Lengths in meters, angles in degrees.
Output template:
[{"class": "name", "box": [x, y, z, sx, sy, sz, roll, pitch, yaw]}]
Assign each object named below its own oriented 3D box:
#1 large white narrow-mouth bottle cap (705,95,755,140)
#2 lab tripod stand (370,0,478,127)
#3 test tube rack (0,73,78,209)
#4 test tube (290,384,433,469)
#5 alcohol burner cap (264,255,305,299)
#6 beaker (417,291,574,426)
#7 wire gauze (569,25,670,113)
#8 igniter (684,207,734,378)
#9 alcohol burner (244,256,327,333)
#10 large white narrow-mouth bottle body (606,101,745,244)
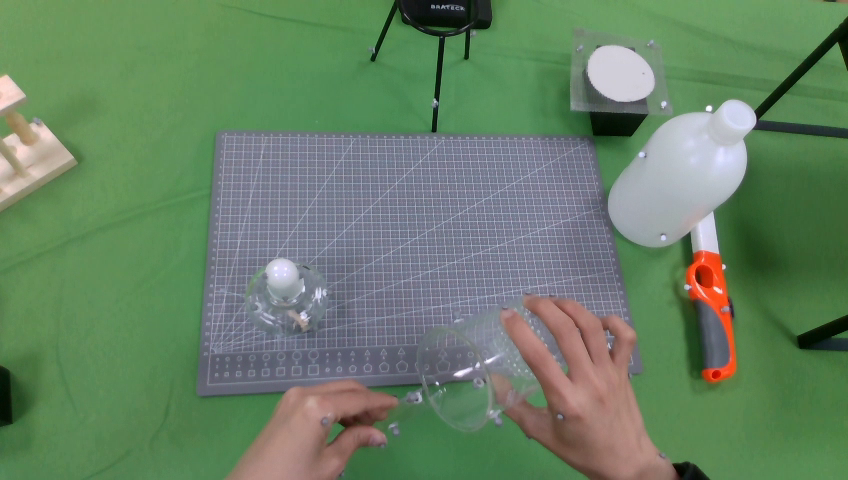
[{"class": "large white narrow-mouth bottle cap", "box": [0.282, -0.114, 0.560, 0.038, 0.024, 0.037, 3, 66, -6]}, {"class": "lab tripod stand", "box": [0.008, -0.228, 0.701, 0.149, 0.132, 0.147, 4, 67, -8]}, {"class": "test tube rack", "box": [-0.476, -0.051, 0.578, 0.242, 0.085, 0.066, -41, 77, -22]}, {"class": "test tube", "box": [-0.053, 0.149, 0.476, 0.150, 0.017, 0.017, -34, 68, 25]}, {"class": "alcohol burner cap", "box": [-0.125, 0.031, 0.534, 0.034, 0.048, 0.033, 1, 71, -4]}, {"class": "beaker", "box": [0.054, 0.083, 0.445, 0.100, 0.084, 0.073, -16, 68, -38]}, {"class": "wire gauze", "box": [0.235, -0.208, 0.739, 0.122, 0.011, 0.124, 6, 65, -5]}, {"class": "igniter", "box": [0.320, 0.022, 0.693, 0.057, 0.025, 0.274, 13, 65, -17]}, {"class": "alcohol burner", "box": [-0.130, 0.045, 0.567, 0.078, 0.120, 0.077, 4, 64, -8]}, {"class": "large white narrow-mouth bottle body", "box": [0.272, -0.077, 0.638, 0.102, 0.196, 0.101, 3, 65, -6]}]
